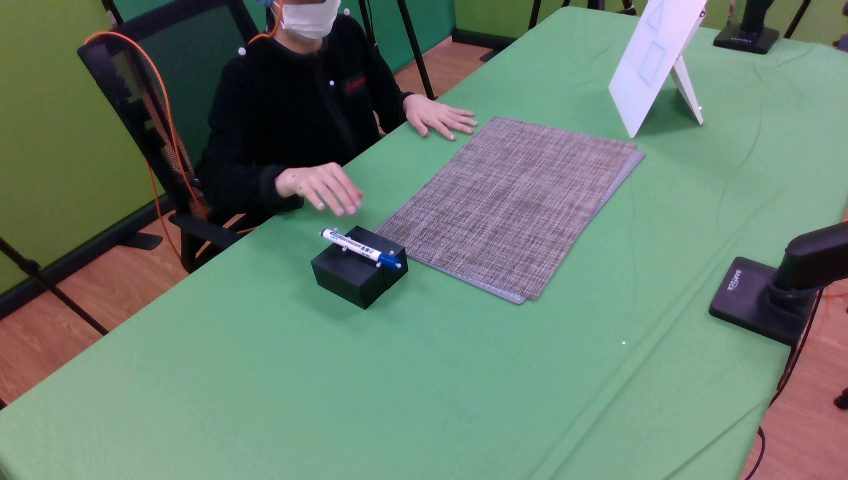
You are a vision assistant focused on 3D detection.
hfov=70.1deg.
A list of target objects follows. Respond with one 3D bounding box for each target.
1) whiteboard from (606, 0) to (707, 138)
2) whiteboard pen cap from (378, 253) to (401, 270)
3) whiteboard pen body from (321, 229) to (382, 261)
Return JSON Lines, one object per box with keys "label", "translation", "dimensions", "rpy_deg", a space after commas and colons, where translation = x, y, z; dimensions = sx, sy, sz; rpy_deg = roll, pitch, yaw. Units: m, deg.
{"label": "whiteboard", "translation": [0.496, -0.359, 1.147], "dimensions": [0.144, 0.305, 0.216], "rpy_deg": [11, 40, -7]}
{"label": "whiteboard pen cap", "translation": [-0.051, 0.030, 0.870], "dimensions": [0.033, 0.018, 0.018], "rpy_deg": [21, 48, 28]}
{"label": "whiteboard pen body", "translation": [-0.100, 0.010, 0.902], "dimensions": [0.140, 0.017, 0.017], "rpy_deg": [22, 48, 29]}
